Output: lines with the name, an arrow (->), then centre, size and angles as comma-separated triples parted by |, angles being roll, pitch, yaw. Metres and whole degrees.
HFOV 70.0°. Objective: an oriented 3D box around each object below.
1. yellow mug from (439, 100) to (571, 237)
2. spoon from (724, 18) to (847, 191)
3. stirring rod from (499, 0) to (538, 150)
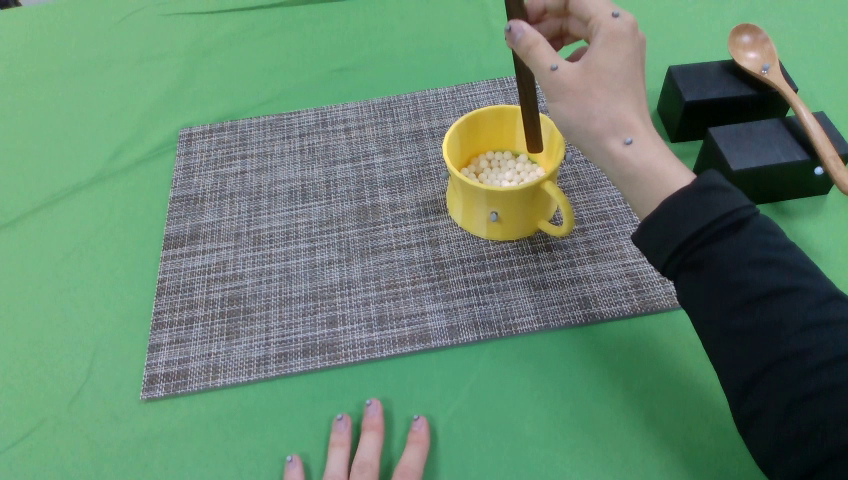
yellow mug -> 0.074, -0.052, 0.507 | 0.100, 0.064, 0.129 | -35, 59, -20
spoon -> 0.303, -0.119, 0.505 | 0.041, 0.022, 0.191 | -9, 55, -2
stirring rod -> 0.066, -0.141, 0.439 | 0.014, 0.178, 0.006 | 1, 42, 21
